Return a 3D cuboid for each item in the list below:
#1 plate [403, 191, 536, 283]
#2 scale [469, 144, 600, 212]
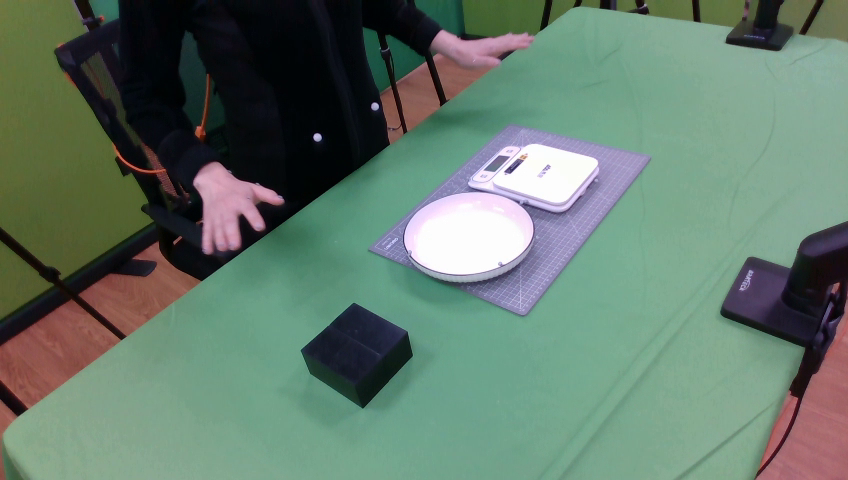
[{"bbox_3d":[0.071,-0.003,0.959,0.209,0.038,0.208,-5,40,5],"label":"plate"},{"bbox_3d":[0.194,-0.117,1.075,0.199,0.032,0.149,21,48,32],"label":"scale"}]
